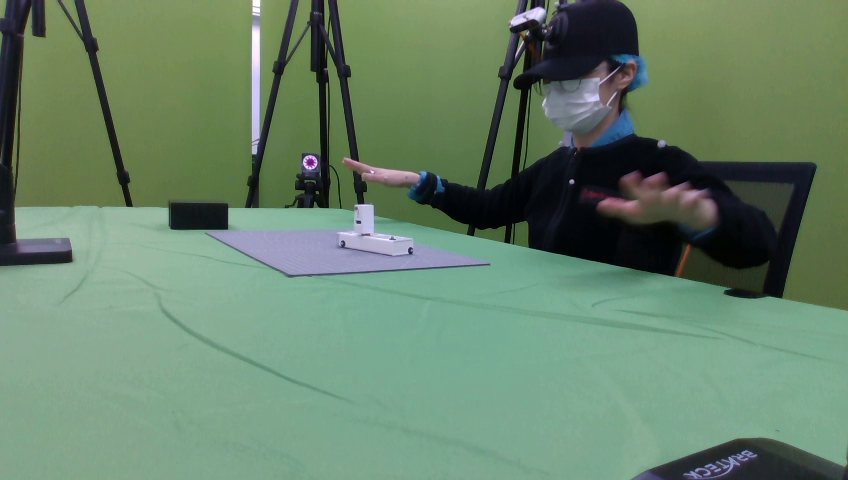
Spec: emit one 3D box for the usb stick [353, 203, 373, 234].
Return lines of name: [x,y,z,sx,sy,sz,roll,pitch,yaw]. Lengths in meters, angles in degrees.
usb stick: [-0.094,-0.028,0.936,0.021,0.059,0.027,5,11,39]

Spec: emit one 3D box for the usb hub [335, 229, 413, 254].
usb hub: [-0.080,0.001,0.947,0.124,0.025,0.050,7,10,39]
